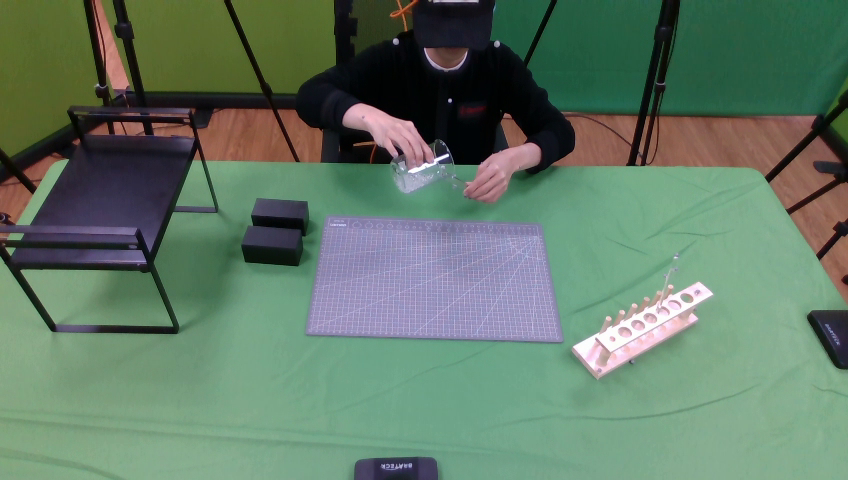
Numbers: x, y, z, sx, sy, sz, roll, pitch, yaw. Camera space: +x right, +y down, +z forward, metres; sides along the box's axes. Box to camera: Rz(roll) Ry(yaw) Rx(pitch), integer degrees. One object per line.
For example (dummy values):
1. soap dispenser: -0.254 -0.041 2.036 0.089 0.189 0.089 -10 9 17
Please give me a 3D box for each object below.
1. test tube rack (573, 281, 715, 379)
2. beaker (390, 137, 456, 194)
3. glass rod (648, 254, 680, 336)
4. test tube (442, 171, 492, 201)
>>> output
1. test tube rack: 0.378 0.140 1.038 0.242 0.085 0.066 -22 51 -22
2. beaker: -0.004 -0.131 1.100 0.100 0.084 0.073 -25 50 -17
3. glass rod: 0.390 0.094 0.991 0.008 0.201 0.008 -1 44 2
4. test tube: 0.087 -0.105 1.193 0.151 0.017 0.017 21 28 -46
